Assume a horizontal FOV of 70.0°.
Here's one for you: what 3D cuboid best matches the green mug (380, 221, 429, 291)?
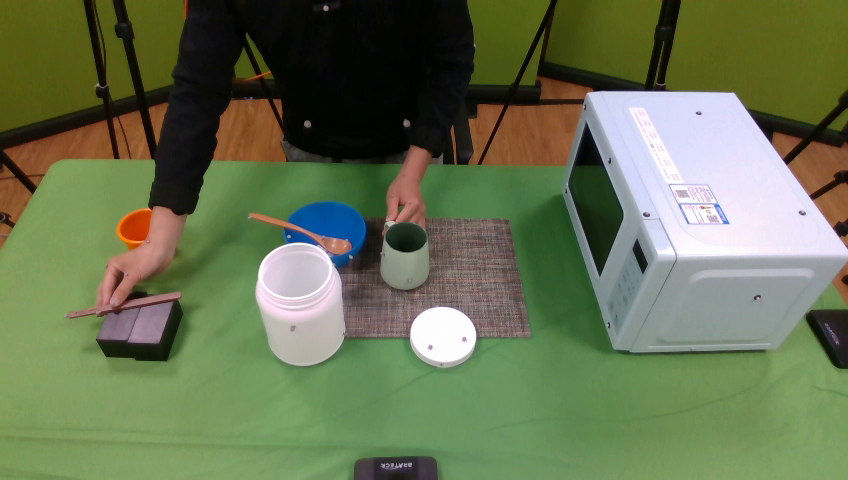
[{"bbox_3d":[-0.043,0.020,1.116,0.092,0.105,0.124,-20,50,-21],"label":"green mug"}]

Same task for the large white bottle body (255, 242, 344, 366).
[{"bbox_3d":[-0.196,0.102,0.967,0.131,0.185,0.130,2,49,-2],"label":"large white bottle body"}]

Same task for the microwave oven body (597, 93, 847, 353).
[{"bbox_3d":[0.475,-0.041,1.109,0.326,0.261,0.438,-1,45,-4],"label":"microwave oven body"}]

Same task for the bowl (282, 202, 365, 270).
[{"bbox_3d":[-0.185,0.006,1.136,0.151,0.077,0.150,3,46,-3],"label":"bowl"}]

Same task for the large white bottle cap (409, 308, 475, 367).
[{"bbox_3d":[0.031,0.165,1.041,0.115,0.018,0.114,2,47,-2],"label":"large white bottle cap"}]

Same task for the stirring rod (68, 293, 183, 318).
[{"bbox_3d":[-0.492,0.108,1.002,0.176,0.006,0.014,-8,41,-16],"label":"stirring rod"}]

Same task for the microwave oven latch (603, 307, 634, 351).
[{"bbox_3d":[0.332,0.153,1.044,0.030,0.029,0.078,0,45,-4],"label":"microwave oven latch"}]

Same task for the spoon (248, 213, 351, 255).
[{"bbox_3d":[-0.228,-0.014,1.113,0.194,0.022,0.041,23,41,-15],"label":"spoon"}]

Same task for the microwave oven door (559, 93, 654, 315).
[{"bbox_3d":[0.327,-0.074,1.123,0.039,0.245,0.353,-1,46,-5],"label":"microwave oven door"}]
